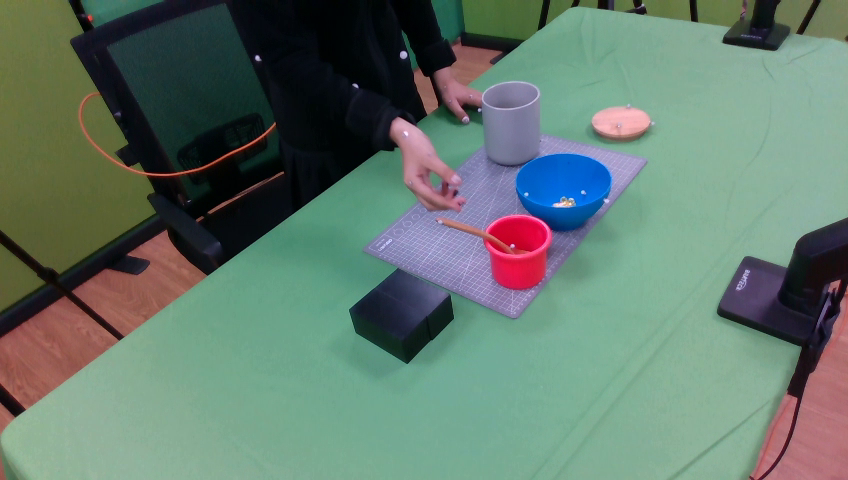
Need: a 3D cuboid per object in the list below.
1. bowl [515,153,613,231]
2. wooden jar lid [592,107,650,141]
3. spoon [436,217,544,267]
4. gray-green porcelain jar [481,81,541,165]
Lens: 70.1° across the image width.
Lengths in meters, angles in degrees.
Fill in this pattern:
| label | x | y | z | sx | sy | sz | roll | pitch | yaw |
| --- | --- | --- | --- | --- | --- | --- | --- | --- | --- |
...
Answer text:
| label | x | y | z | sx | sy | sz | roll | pitch | yaw |
| --- | --- | --- | --- | --- | --- | --- | --- | --- | --- |
| bowl | 0.224 | -0.068 | 0.972 | 0.151 | 0.077 | 0.150 | -5 | 40 | 5 |
| wooden jar lid | 0.382 | -0.224 | 1.178 | 0.108 | 0.021 | 0.108 | -5 | 40 | 4 |
| spoon | 0.097 | 0.001 | 0.864 | 0.195 | 0.021 | 0.041 | 25 | 23 | -29 |
| gray-green porcelain jar | 0.162 | -0.212 | 1.117 | 0.106 | 0.127 | 0.105 | -5 | 40 | 5 |
